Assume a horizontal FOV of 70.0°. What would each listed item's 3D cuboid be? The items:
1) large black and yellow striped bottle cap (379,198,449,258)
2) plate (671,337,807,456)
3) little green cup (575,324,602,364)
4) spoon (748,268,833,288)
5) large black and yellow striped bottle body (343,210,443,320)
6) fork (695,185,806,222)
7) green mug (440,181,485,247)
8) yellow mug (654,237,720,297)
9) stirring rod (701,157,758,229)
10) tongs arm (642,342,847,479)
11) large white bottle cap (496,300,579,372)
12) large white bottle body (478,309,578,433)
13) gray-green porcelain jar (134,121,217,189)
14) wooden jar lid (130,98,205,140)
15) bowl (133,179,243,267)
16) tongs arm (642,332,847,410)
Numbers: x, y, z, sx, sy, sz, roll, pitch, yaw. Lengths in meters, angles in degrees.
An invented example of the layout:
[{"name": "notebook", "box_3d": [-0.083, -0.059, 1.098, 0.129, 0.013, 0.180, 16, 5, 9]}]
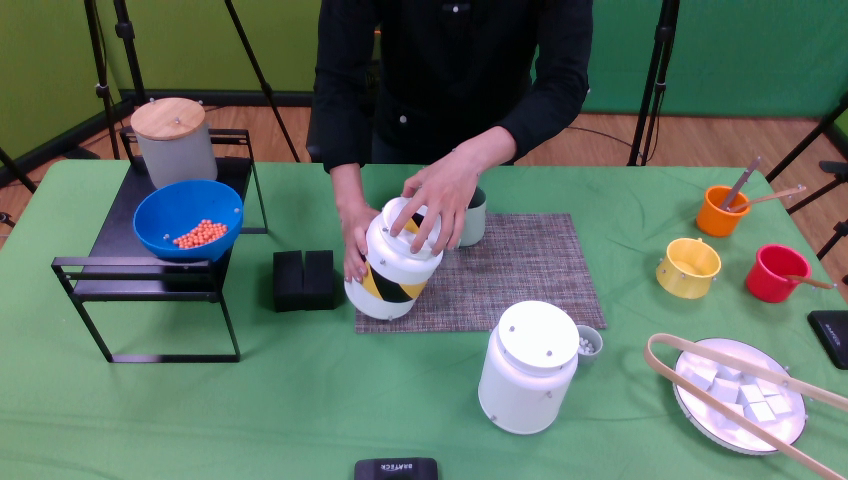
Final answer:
[{"name": "large black and yellow striped bottle cap", "box_3d": [-0.015, -0.021, 0.959, 0.115, 0.019, 0.114, 16, 43, -15]}, {"name": "plate", "box_3d": [0.504, 0.254, 0.984, 0.208, 0.039, 0.206, 2, 46, -2]}, {"name": "little green cup", "box_3d": [0.269, 0.179, 1.035, 0.061, 0.039, 0.061, 2, 46, -2]}, {"name": "spoon", "box_3d": [0.660, 0.068, 1.097, 0.041, 0.193, 0.021, -4, 91, -6]}, {"name": "large black and yellow striped bottle body", "box_3d": [-0.048, 0.033, 1.014, 0.131, 0.184, 0.130, 17, 42, -16]}, {"name": "fork", "box_3d": [0.657, -0.074, 1.230, 0.207, 0.019, 0.028, -23, 37, 37]}, {"name": "green mug", "box_3d": [0.071, -0.039, 1.178, 0.092, 0.105, 0.124, 12, 47, 7]}, {"name": "yellow mug", "box_3d": [0.508, 0.041, 1.167, 0.099, 0.064, 0.130, 24, 48, 18]}, {"name": "stirring rod", "box_3d": [0.634, -0.096, 1.257, 0.014, 0.006, 0.176, 38, 97, 29]}, {"name": "tongs arm", "box_3d": [0.504, 0.279, 0.918, 0.386, 0.028, 0.028, 34, 59, 22]}, {"name": "large white bottle cap", "box_3d": [0.160, 0.133, 0.852, 0.115, 0.018, 0.114, 3, 46, -2]}, {"name": "large white bottle body", "box_3d": [0.155, 0.192, 0.913, 0.131, 0.185, 0.130, 2, 46, -2]}, {"name": "gray-green porcelain jar", "box_3d": [-0.397, -0.141, 0.980, 0.106, 0.127, 0.105, 2, 47, -2]}, {"name": "wooden jar lid", "box_3d": [-0.393, -0.183, 0.934, 0.108, 0.021, 0.107, 3, 43, -2]}, {"name": "bowl", "box_3d": [-0.339, -0.013, 0.895, 0.151, 0.077, 0.150, 2, 46, -2]}, {"name": "tongs arm", "box_3d": [0.546, 0.227, 0.968, 0.384, 0.026, 0.050, 22, 52, 13]}]
